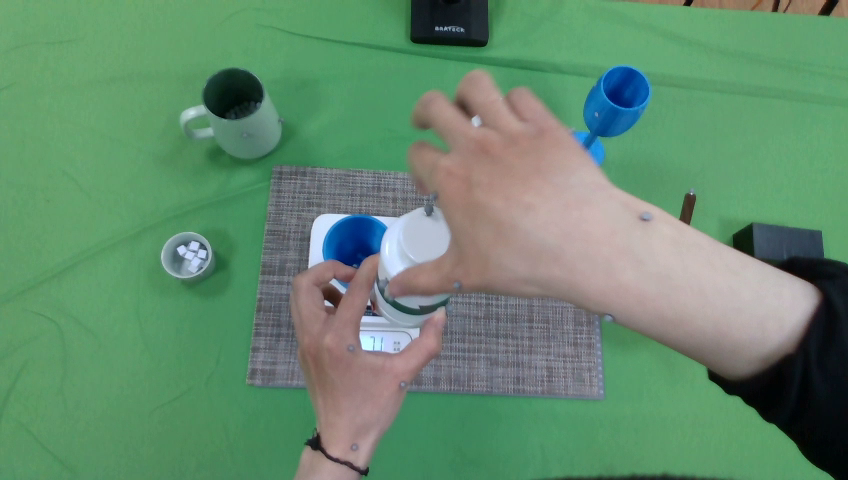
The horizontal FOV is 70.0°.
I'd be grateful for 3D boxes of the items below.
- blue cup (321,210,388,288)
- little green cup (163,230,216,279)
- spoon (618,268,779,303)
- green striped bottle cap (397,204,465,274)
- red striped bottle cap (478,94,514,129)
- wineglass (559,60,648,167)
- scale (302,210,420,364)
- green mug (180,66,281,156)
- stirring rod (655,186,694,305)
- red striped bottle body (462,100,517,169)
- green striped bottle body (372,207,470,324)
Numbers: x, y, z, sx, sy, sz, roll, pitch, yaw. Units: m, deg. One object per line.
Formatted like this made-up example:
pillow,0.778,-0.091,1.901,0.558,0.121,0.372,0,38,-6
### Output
blue cup,-0.079,0.019,0.735,0.093,0.100,0.092,2,75,-6
little green cup,-0.301,0.021,0.786,0.061,0.039,0.061,2,72,-5
spoon,0.338,0.062,0.765,0.022,0.192,0.041,26,75,-42
green striped bottle cap,0.004,-0.001,0.398,0.044,0.020,0.044,3,67,-8
red striped bottle cap,0.092,-0.165,0.774,0.044,0.018,0.044,1,70,-4
wineglass,0.236,-0.164,0.813,0.074,0.173,0.073,1,72,-3
scale,-0.079,0.059,0.791,0.149,0.032,0.199,2,73,-3
green mug,-0.261,-0.166,0.812,0.125,0.105,0.092,-19,75,-9
stirring rod,0.321,0.012,0.779,0.014,0.177,0.006,7,32,12
red striped bottle body,0.089,-0.149,0.825,0.063,0.120,0.062,1,73,-4
green striped bottle body,-0.004,0.018,0.447,0.063,0.120,0.062,3,67,-8
